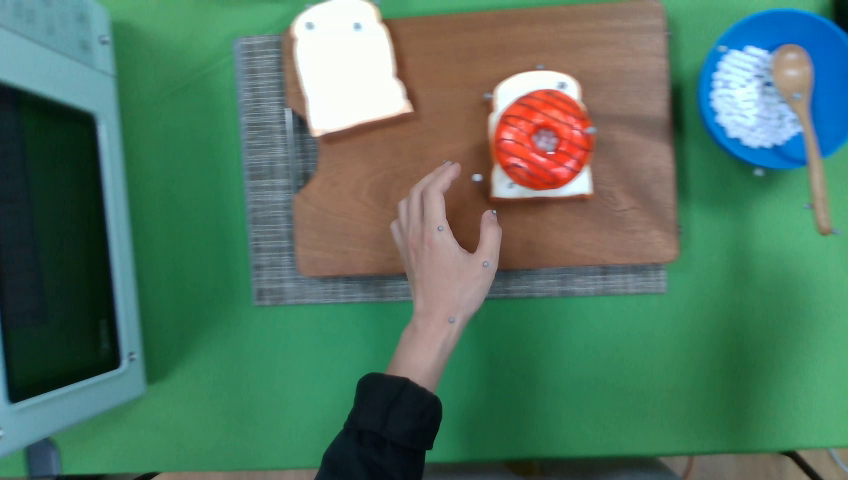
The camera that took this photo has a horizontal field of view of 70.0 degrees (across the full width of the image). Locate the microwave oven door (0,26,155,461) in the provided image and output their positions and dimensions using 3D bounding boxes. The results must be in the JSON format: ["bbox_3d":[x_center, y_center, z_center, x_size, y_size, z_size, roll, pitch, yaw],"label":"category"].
[{"bbox_3d":[-0.346,-0.003,0.562,0.039,0.244,0.355,-6,90,6],"label":"microwave oven door"}]

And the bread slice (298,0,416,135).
[{"bbox_3d":[-0.077,-0.184,0.634,0.107,0.018,0.134,-17,88,5],"label":"bread slice"}]

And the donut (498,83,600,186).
[{"bbox_3d":[0.121,-0.102,0.588,0.099,0.048,0.099,0,92,6],"label":"donut"}]

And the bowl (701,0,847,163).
[{"bbox_3d":[0.341,-0.147,0.596,0.151,0.077,0.151,0,91,6],"label":"bowl"}]

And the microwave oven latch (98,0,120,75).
[{"bbox_3d":[-0.354,-0.221,0.660,0.030,0.029,0.079,-5,91,5],"label":"microwave oven latch"}]

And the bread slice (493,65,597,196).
[{"bbox_3d":[0.120,-0.111,0.619,0.105,0.019,0.131,-4,92,4],"label":"bread slice"}]

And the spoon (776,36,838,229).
[{"bbox_3d":[0.361,-0.103,0.563,0.042,0.022,0.192,2,70,-4],"label":"spoon"}]

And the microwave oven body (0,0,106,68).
[{"bbox_3d":[-0.495,-0.032,0.580,0.326,0.260,0.441,-5,91,5],"label":"microwave oven body"}]
